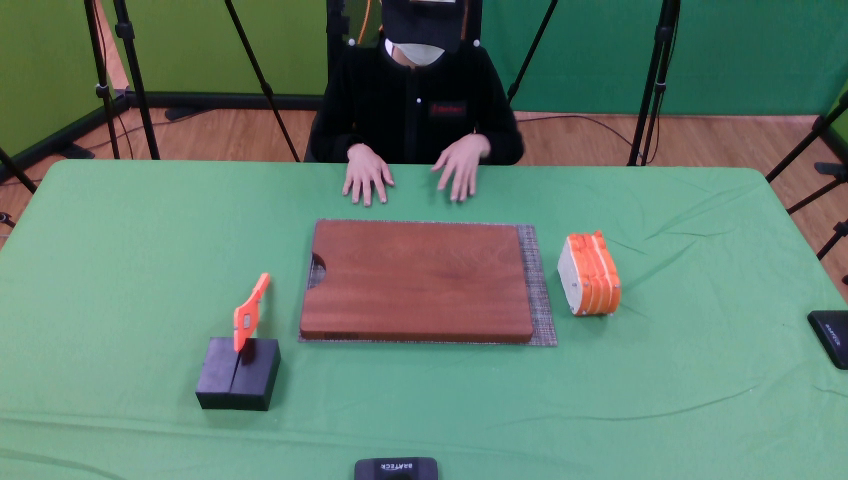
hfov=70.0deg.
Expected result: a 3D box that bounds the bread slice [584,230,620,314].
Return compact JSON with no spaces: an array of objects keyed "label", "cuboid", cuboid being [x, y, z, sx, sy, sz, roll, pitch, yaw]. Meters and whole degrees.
[{"label":"bread slice","cuboid":[0.322,0.067,1.103,0.018,0.107,0.133,-8,55,-3]}]

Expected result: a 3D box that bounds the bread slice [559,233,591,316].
[{"label":"bread slice","cuboid":[0.272,0.068,1.096,0.019,0.105,0.130,-4,52,-3]}]

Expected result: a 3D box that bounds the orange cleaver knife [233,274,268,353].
[{"label":"orange cleaver knife","cuboid":[-0.291,0.118,1.020,0.012,0.077,0.210,1,18,-1]}]
